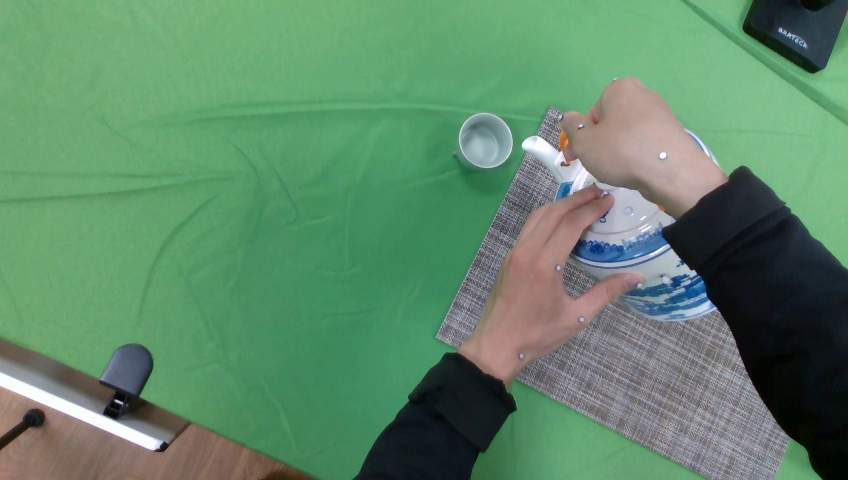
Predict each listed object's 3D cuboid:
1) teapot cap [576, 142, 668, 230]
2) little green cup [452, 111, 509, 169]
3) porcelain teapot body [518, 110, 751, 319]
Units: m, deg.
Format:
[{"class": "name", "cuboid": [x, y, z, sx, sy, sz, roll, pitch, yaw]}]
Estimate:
[{"class": "teapot cap", "cuboid": [0.162, -0.048, 0.509, 0.044, 0.084, 0.085, 36, 79, -36]}, {"class": "little green cup", "cuboid": [0.060, -0.108, 0.674, 0.062, 0.038, 0.061, 1, 85, -11]}, {"class": "porcelain teapot body", "cuboid": [0.171, -0.041, 0.558, 0.228, 0.203, 0.145, 35, 91, -40]}]
